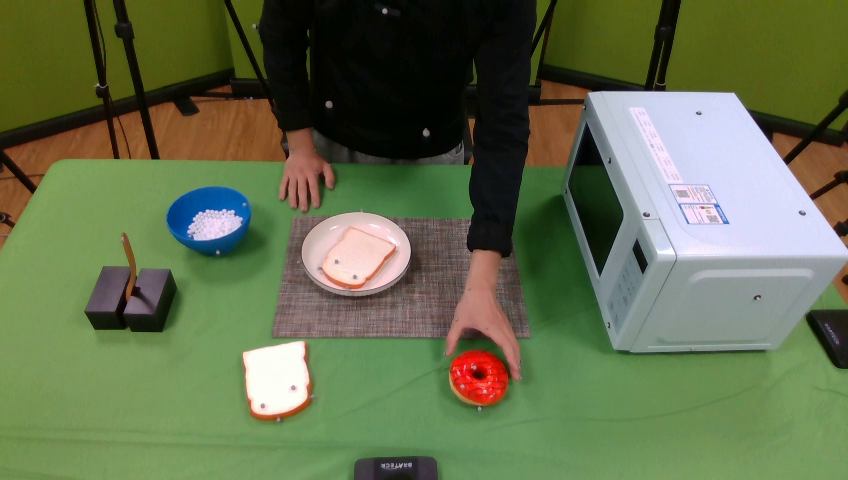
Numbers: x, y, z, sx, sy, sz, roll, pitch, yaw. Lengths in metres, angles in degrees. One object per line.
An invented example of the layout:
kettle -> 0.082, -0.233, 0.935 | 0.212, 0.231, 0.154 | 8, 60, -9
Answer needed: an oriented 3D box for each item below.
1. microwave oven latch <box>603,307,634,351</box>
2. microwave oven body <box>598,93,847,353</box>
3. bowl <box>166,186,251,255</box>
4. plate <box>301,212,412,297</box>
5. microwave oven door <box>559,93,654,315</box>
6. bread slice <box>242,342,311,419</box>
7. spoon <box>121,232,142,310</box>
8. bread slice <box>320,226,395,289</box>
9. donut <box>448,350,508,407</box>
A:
microwave oven latch -> 0.332, 0.153, 1.044 | 0.030, 0.029, 0.078 | 0, 45, -4
microwave oven body -> 0.475, -0.041, 1.109 | 0.326, 0.261, 0.438 | -1, 45, -4
bowl -> -0.403, -0.024, 1.154 | 0.151, 0.077, 0.150 | 2, 46, -2
plate -> -0.127, 0.031, 1.146 | 0.208, 0.039, 0.206 | 2, 45, -2
microwave oven door -> 0.327, -0.074, 1.123 | 0.039, 0.245, 0.353 | -1, 46, -5
bread slice -> -0.234, 0.223, 0.970 | 0.105, 0.019, 0.130 | -10, 46, -12
spoon -> -0.479, 0.051, 0.994 | 0.022, 0.194, 0.041 | 13, 46, -11
bread slice -> -0.129, 0.036, 1.140 | 0.107, 0.018, 0.134 | 19, 48, 14
donut -> 0.087, 0.223, 0.977 | 0.099, 0.048, 0.098 | 4, 45, -4
